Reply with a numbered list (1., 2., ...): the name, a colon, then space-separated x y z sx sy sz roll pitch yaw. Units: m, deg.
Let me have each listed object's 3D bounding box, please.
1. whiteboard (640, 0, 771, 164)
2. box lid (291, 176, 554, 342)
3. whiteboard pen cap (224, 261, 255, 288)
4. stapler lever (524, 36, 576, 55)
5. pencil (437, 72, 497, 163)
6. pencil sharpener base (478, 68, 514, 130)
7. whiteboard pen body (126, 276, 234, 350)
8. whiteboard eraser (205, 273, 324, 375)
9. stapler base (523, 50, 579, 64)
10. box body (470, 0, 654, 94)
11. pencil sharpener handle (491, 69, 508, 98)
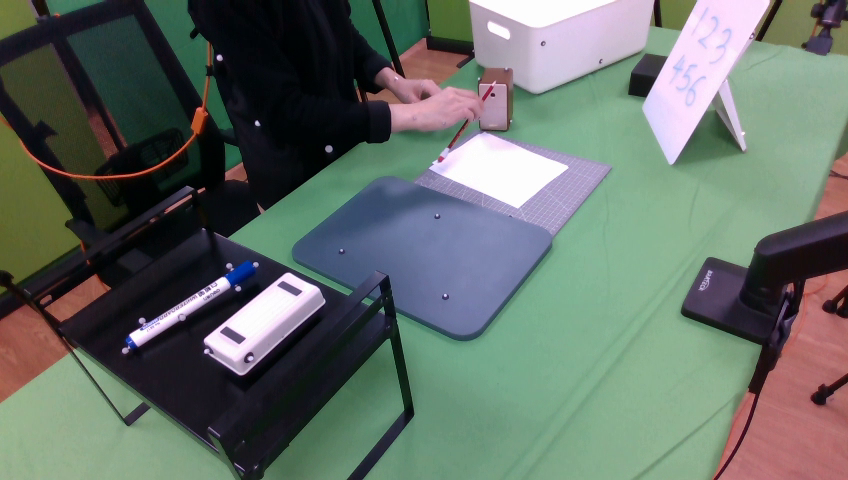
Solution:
1. whiteboard: 0.543 -0.299 1.076 0.144 0.305 0.216 12 40 -7
2. box lid: -0.005 0.011 0.972 0.368 0.015 0.264 21 49 30
3. whiteboard pen cap: -0.207 0.039 0.677 0.033 0.018 0.018 -36 47 -18
4. stapler lever: 0.296 -0.456 1.418 0.117 0.040 0.027 4 40 17
5. pencil: 0.078 -0.220 1.080 0.012 0.012 0.194 30 85 35
6. pencil sharpener base: 0.148 -0.286 1.225 0.061 0.107 0.076 5 41 15
7. whiteboard pen body: -0.251 0.070 0.649 0.141 0.017 0.017 -36 48 -26
8. whiteboard eraser: -0.157 0.084 0.605 0.055 0.042 0.113 24 49 30
9. stapler base: 0.301 -0.436 1.434 0.130 0.024 0.041 5 40 17
10. box body: 0.319 -0.498 1.405 0.365 0.161 0.252 -26 43 -21
11. pencil sharpener handle: 0.155 -0.329 1.254 0.036 0.068 0.030 17 43 3
